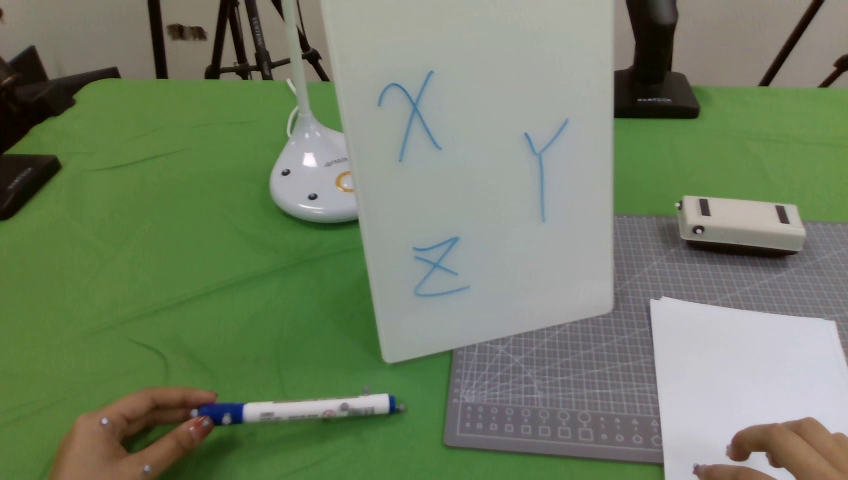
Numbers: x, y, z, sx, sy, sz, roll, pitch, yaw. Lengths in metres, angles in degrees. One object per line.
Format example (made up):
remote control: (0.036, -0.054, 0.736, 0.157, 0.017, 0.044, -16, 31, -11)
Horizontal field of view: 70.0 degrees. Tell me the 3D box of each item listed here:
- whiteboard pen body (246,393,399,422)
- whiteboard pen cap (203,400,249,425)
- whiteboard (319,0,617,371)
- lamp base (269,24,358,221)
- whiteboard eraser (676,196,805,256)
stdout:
whiteboard pen body: (-0.090, 0.131, 0.472, 0.141, 0.017, 0.017, 0, 39, -12)
whiteboard pen cap: (-0.149, 0.129, 0.458, 0.033, 0.018, 0.018, -1, 39, -14)
whiteboard: (0.039, -0.072, 0.542, 0.217, 0.307, 0.142, -11, 22, -8)
lamp base: (-0.115, -0.139, 0.681, 0.160, 0.182, 0.177, -31, 46, -29)
whiteboard eraser: (0.317, -0.014, 0.613, 0.112, 0.042, 0.055, 7, 43, 11)
